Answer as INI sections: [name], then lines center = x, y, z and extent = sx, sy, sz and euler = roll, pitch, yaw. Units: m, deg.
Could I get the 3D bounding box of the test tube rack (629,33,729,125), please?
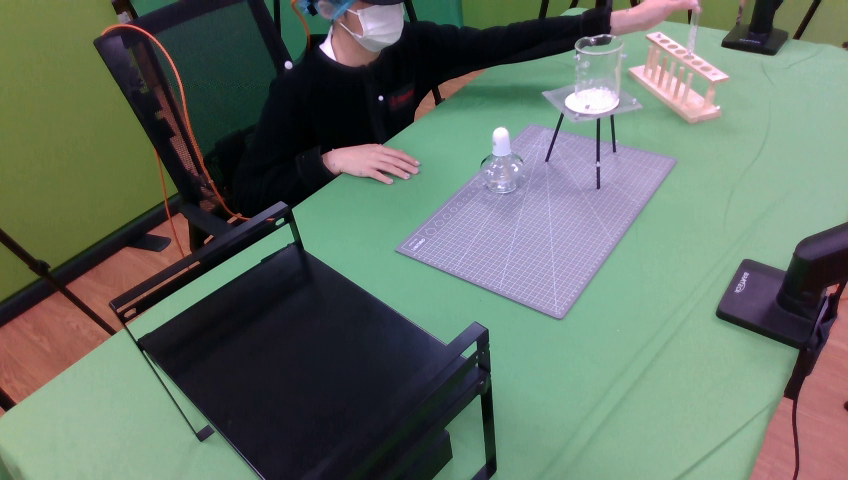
[test tube rack]
center = 0.517, -0.337, 1.247
extent = 0.067, 0.085, 0.240
euler = -14, 41, -7

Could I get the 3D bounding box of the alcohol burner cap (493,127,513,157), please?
[alcohol burner cap]
center = 0.132, -0.169, 1.030
extent = 0.034, 0.048, 0.033
euler = -6, 35, 5

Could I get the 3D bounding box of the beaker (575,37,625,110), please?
[beaker]
center = 0.283, -0.271, 0.988
extent = 0.074, 0.101, 0.083
euler = -10, 39, 1

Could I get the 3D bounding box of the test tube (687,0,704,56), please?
[test tube]
center = 0.524, -0.427, 1.160
extent = 0.017, 0.151, 0.017
euler = -5, 39, 4

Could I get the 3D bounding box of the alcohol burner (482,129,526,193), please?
[alcohol burner]
center = 0.138, -0.142, 1.052
extent = 0.078, 0.119, 0.077
euler = -5, 42, 5

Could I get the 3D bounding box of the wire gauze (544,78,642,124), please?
[wire gauze]
center = 0.282, -0.234, 1.021
extent = 0.125, 0.011, 0.120
euler = -17, 38, -4

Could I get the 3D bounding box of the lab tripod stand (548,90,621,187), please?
[lab tripod stand]
center = 0.289, -0.184, 1.062
extent = 0.148, 0.132, 0.147
euler = -6, 41, 6
